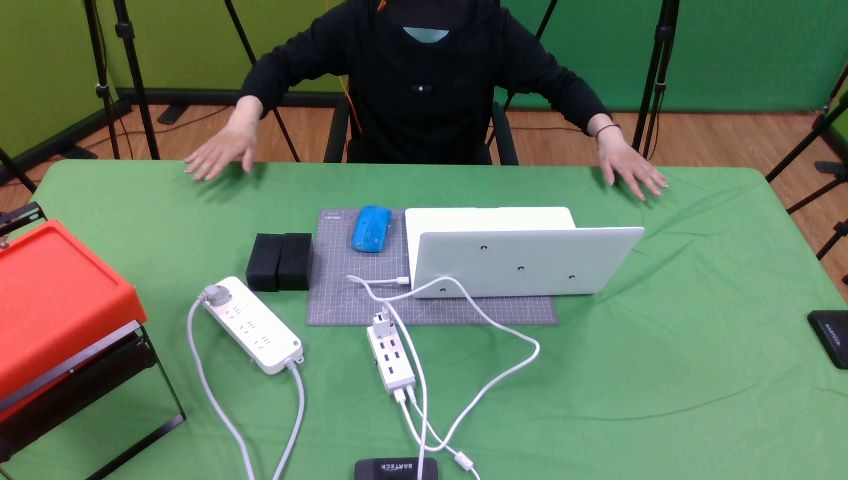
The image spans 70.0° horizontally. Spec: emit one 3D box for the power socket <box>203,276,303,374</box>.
[{"bbox_3d":[-0.296,0.141,1.034,0.072,0.033,0.225,-35,58,-30],"label":"power socket"}]

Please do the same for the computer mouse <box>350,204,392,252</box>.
[{"bbox_3d":[-0.104,-0.027,1.202,0.063,0.041,0.116,11,51,4],"label":"computer mouse"}]

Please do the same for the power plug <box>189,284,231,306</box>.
[{"bbox_3d":[-0.367,0.100,1.037,0.072,0.053,0.035,-24,54,-27],"label":"power plug"}]

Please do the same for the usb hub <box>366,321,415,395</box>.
[{"bbox_3d":[-0.056,0.194,1.008,0.049,0.025,0.124,-13,49,-15],"label":"usb hub"}]

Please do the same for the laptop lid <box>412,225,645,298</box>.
[{"bbox_3d":[0.161,0.042,1.012,0.357,0.242,0.013,0,59,-7],"label":"laptop lid"}]

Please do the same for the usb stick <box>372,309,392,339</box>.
[{"bbox_3d":[-0.070,0.145,1.008,0.027,0.059,0.021,-14,40,-25],"label":"usb stick"}]

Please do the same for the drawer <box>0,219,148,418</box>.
[{"bbox_3d":[-0.509,0.093,0.783,0.193,0.073,0.211,32,53,24],"label":"drawer"}]

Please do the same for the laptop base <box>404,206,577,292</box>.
[{"bbox_3d":[0.143,0.018,1.196,0.355,0.023,0.234,-1,43,-6],"label":"laptop base"}]

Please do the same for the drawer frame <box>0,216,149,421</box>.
[{"bbox_3d":[-0.510,0.093,0.780,0.201,0.083,0.213,31,52,23],"label":"drawer frame"}]
